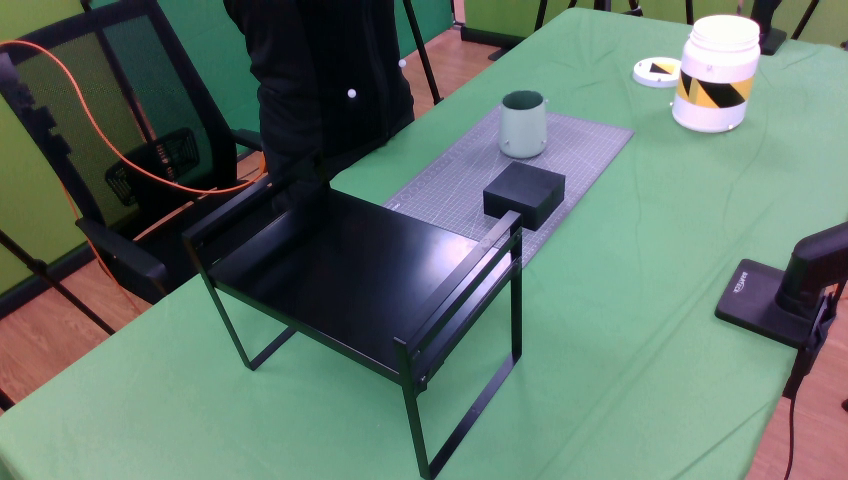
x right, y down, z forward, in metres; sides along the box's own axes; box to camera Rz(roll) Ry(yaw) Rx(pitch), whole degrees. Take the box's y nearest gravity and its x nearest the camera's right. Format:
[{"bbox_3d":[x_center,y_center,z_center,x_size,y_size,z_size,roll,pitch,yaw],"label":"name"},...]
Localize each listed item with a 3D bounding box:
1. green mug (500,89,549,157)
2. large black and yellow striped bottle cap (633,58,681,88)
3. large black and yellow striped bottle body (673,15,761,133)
[{"bbox_3d":[0.195,-0.228,1.145,0.092,0.105,0.125,14,45,25],"label":"green mug"},{"bbox_3d":[0.521,-0.370,1.332,0.115,0.019,0.114,-3,41,3],"label":"large black and yellow striped bottle cap"},{"bbox_3d":[0.546,-0.309,1.128,0.131,0.185,0.130,-4,41,4],"label":"large black and yellow striped bottle body"}]
